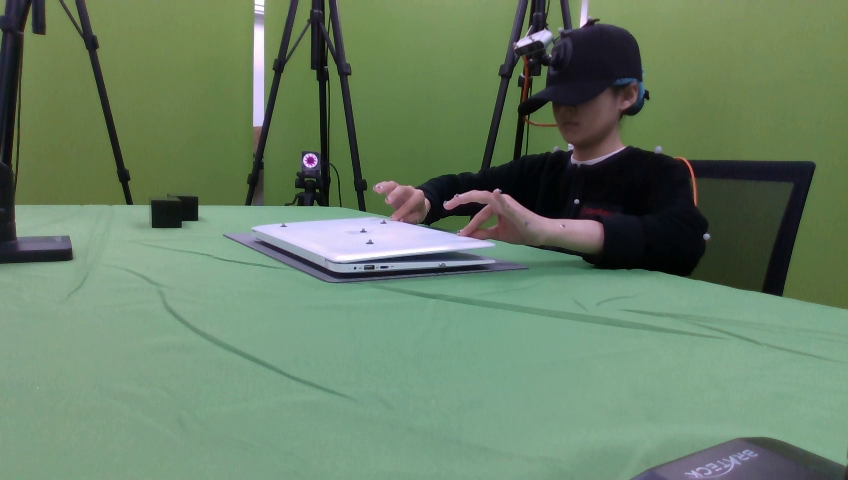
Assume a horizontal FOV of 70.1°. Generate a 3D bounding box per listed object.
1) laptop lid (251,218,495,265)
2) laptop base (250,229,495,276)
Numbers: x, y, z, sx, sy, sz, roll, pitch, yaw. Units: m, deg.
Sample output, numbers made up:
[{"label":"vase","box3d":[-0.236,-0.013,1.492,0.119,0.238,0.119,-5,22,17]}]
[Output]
[{"label":"laptop lid","box3d":[-0.091,-0.006,0.881,0.243,0.013,0.355,-4,10,-30]},{"label":"laptop base","box3d":[-0.093,0.016,0.884,0.237,0.023,0.352,2,6,-32]}]
